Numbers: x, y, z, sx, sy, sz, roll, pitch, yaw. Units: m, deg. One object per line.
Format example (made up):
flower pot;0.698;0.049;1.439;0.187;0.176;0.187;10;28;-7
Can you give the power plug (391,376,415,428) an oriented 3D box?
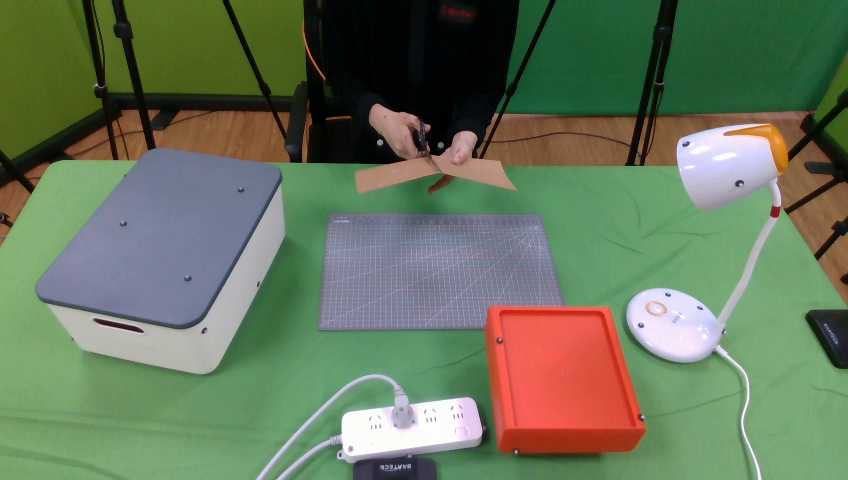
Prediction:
power plug;-0.031;0.249;0.917;0.035;0.053;0.072;3;46;-1

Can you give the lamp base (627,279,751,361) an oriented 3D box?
lamp base;0.460;0.100;1.027;0.178;0.181;0.160;27;51;17

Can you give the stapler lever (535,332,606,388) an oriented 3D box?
stapler lever;0.225;0.181;0.928;0.118;0.040;0.027;27;34;15

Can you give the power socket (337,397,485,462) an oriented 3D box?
power socket;-0.018;0.285;0.915;0.227;0.033;0.071;-4;46;-8

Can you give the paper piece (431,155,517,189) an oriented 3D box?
paper piece;0.080;-0.119;1.033;0.136;0.008;0.137;12;20;-12

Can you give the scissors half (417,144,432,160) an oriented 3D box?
scissors half;0.002;-0.155;1.110;0.013;0.040;0.174;-5;10;-6

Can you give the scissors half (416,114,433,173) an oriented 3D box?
scissors half;0.001;-0.176;1.099;0.013;0.040;0.174;-9;46;-3

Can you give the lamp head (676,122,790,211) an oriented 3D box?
lamp head;0.423;-0.104;0.819;0.122;0.113;0.112;-13;33;40

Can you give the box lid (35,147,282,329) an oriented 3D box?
box lid;-0.411;-0.023;0.987;0.263;0.015;0.369;10;47;5

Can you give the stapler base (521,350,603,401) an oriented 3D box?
stapler base;0.217;0.203;0.942;0.130;0.024;0.041;26;34;16

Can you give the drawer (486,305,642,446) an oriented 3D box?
drawer;0.202;0.200;0.918;0.195;0.073;0.210;2;47;-4

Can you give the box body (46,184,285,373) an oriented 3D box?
box body;-0.414;0.029;1.040;0.254;0.161;0.362;10;46;5

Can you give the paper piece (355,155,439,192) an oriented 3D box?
paper piece;-0.048;-0.116;1.014;0.135;0.004;0.135;-13;22;-2

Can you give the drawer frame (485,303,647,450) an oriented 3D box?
drawer frame;0.204;0.202;0.917;0.202;0.083;0.212;1;47;-4
